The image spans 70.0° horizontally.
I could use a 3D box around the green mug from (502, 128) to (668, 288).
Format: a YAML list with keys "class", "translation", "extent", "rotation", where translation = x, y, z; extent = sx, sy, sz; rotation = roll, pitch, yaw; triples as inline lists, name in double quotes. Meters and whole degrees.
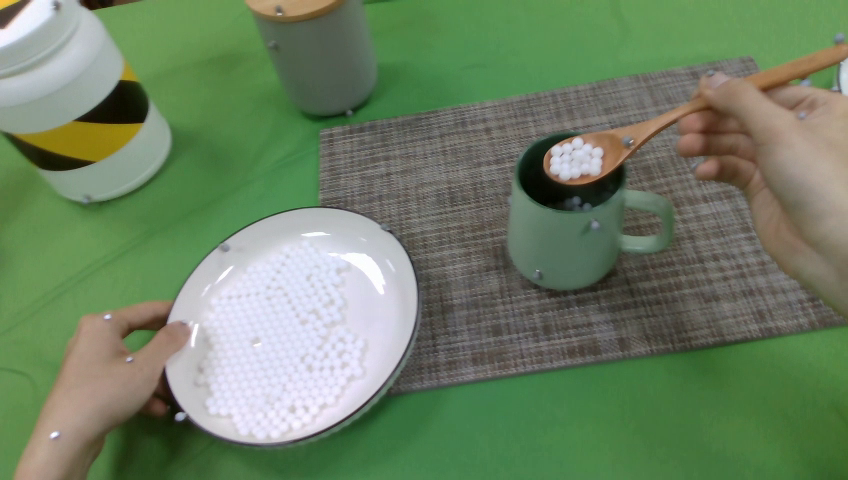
- class: "green mug"
  translation: [0.123, -0.020, 0.469]
  extent: [0.125, 0.106, 0.092]
  rotation: [10, 58, 14]

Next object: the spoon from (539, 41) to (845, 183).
- class: "spoon"
  translation: [0.168, -0.083, 0.396]
  extent: [0.193, 0.022, 0.041]
  rotation: [-23, 55, 23]

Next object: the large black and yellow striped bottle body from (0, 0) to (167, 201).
- class: "large black and yellow striped bottle body"
  translation: [-0.348, -0.140, 0.576]
  extent: [0.130, 0.186, 0.129]
  rotation: [-4, 56, 6]

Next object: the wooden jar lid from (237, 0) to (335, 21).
- class: "wooden jar lid"
  translation: [-0.122, -0.238, 0.568]
  extent: [0.108, 0.021, 0.107]
  rotation: [-3, 59, 6]

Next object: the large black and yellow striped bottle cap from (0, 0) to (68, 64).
- class: "large black and yellow striped bottle cap"
  translation: [-0.359, -0.185, 0.506]
  extent: [0.115, 0.019, 0.114]
  rotation: [-4, 55, 6]

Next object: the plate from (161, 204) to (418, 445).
- class: "plate"
  translation: [-0.104, 0.063, 0.489]
  extent: [0.209, 0.038, 0.207]
  rotation: [-5, 56, 8]

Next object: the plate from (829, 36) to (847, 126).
- class: "plate"
  translation: [0.468, -0.125, 0.532]
  extent: [0.207, 0.039, 0.205]
  rotation: [-4, 56, 6]

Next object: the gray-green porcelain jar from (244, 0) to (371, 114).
- class: "gray-green porcelain jar"
  translation: [-0.113, -0.203, 0.619]
  extent: [0.106, 0.128, 0.105]
  rotation: [-4, 56, 6]
